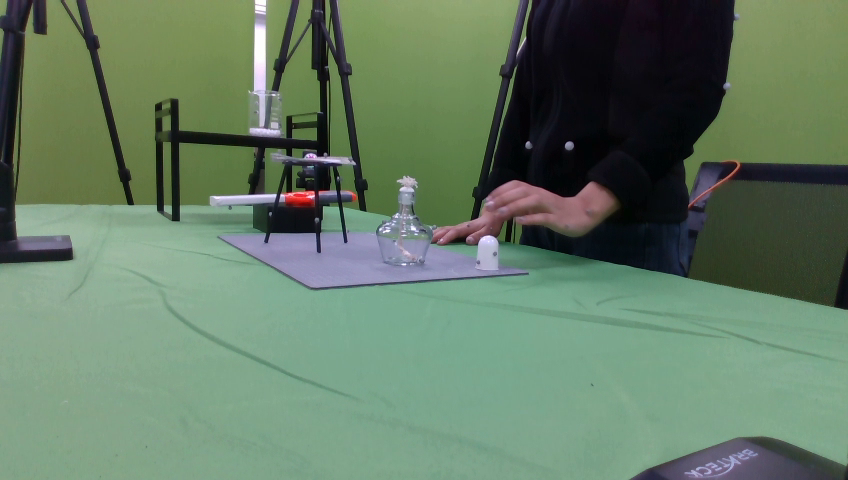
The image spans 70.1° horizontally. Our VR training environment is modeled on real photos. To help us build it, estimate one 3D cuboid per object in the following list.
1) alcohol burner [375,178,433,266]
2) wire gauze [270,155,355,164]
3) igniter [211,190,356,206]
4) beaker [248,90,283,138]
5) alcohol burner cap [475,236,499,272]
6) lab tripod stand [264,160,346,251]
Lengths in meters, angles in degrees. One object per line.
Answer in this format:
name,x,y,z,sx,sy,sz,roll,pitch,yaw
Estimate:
alcohol burner,-0.026,-0.025,0.815,0.078,0.119,0.078,5,7,0
wire gauze,-0.174,-0.123,0.925,0.125,0.011,0.121,0,8,-12
igniter,-0.260,-0.080,1.152,0.278,0.025,0.057,-5,13,-34
beaker,-0.354,-0.278,1.340,0.074,0.100,0.084,6,9,26
alcohol burner cap,0.084,0.018,0.799,0.034,0.048,0.034,2,7,0
lab tripod stand,-0.178,-0.057,0.930,0.148,0.131,0.148,1,9,0
